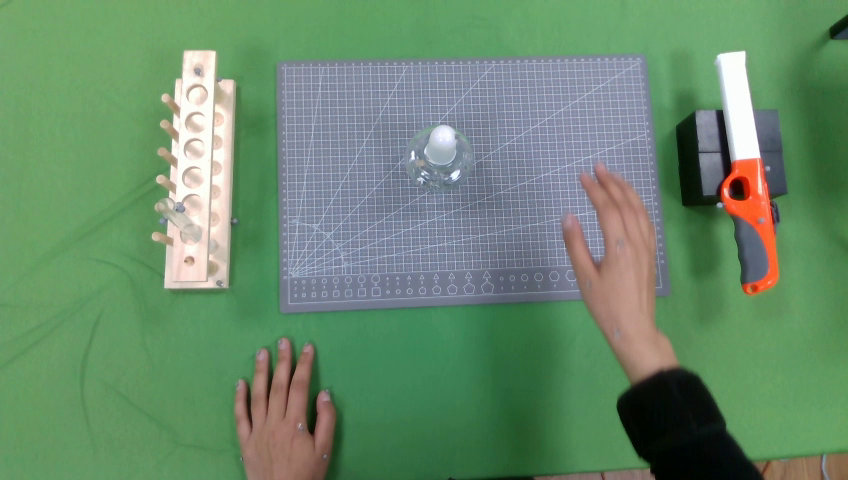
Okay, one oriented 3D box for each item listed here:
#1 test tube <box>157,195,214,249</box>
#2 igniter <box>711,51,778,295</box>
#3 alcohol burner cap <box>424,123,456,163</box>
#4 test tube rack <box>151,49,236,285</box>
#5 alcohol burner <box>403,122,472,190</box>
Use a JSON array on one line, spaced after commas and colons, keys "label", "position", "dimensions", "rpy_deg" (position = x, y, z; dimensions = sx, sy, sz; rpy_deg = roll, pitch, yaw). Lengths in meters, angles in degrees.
[{"label": "test tube", "position": [-0.232, -0.015, 0.598], "dimensions": [0.017, 0.150, 0.017], "rpy_deg": [1, 76, -5]}, {"label": "igniter", "position": [0.355, -0.077, 0.676], "dimensions": [0.057, 0.025, 0.275], "rpy_deg": [-4, 81, 8]}, {"label": "alcohol burner cap", "position": [0.018, -0.103, 0.624], "dimensions": [0.034, 0.048, 0.033], "rpy_deg": [1, 74, -4]}, {"label": "test tube rack", "position": [-0.253, -0.075, 0.656], "dimensions": [0.067, 0.085, 0.241], "rpy_deg": [0, 82, -3]}, {"label": "alcohol burner", "position": [0.015, -0.096, 0.659], "dimensions": [0.078, 0.119, 0.077], "rpy_deg": [0, 82, -2]}]
